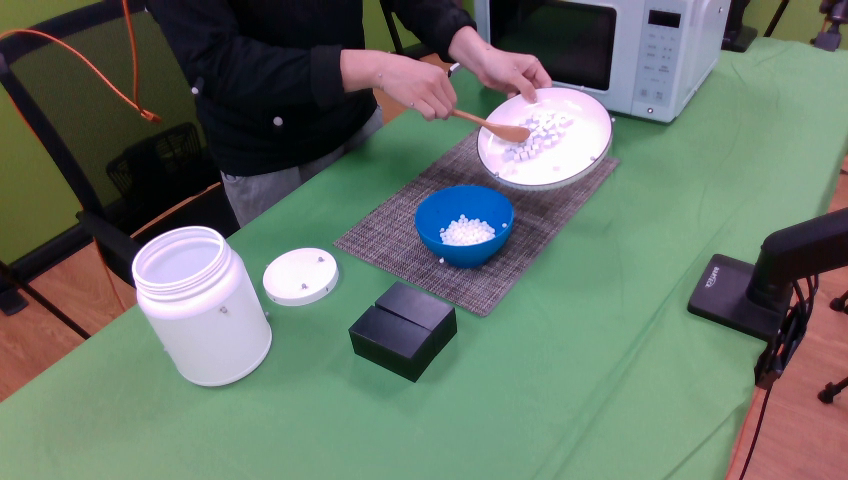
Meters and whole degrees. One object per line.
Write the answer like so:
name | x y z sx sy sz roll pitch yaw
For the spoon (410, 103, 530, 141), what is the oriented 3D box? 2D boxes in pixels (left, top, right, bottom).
spoon | 0.072 -0.187 0.948 0.194 0.021 0.041 19 10 2

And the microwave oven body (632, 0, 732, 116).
microwave oven body | 0.377 -0.463 1.267 0.438 0.261 0.327 21 49 30

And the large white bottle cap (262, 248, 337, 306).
large white bottle cap | -0.193 0.056 0.934 0.115 0.018 0.114 -4 41 4

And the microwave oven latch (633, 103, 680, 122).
microwave oven latch | 0.443 -0.249 1.157 0.078 0.029 0.030 21 48 30

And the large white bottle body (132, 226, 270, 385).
large white bottle body | -0.286 0.085 0.784 0.130 0.185 0.130 -4 41 4

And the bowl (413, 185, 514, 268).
bowl | 0.063 -0.010 0.922 0.151 0.077 0.150 -4 40 4

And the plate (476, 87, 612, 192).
plate | 0.185 -0.154 0.946 0.208 0.038 0.208 -8 54 12

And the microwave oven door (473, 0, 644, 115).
microwave oven door | 0.257 -0.396 1.199 0.353 0.245 0.039 21 48 29
